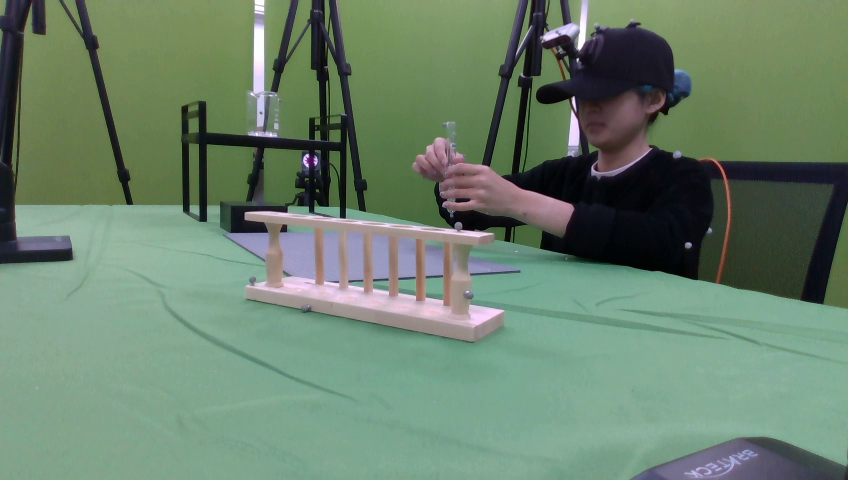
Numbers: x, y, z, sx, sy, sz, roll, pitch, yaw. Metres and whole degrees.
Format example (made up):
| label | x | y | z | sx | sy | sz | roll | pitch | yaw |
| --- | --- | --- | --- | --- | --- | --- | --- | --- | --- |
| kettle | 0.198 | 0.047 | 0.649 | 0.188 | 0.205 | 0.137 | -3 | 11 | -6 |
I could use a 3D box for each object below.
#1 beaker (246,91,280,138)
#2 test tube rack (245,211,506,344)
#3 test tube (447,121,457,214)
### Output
| label | x | y | z | sx | sy | sz | roll | pitch | yaw |
| --- | --- | --- | --- | --- | --- | --- | --- | --- | --- |
| beaker | -0.361 | -0.279 | 1.351 | 0.074 | 0.100 | 0.084 | 3 | 8 | 1 |
| test tube rack | -0.049 | 0.025 | 0.547 | 0.241 | 0.085 | 0.067 | 7 | 8 | 28 |
| test tube | 0.046 | -0.118 | 0.987 | 0.017 | 0.150 | 0.017 | 0 | 6 | 0 |
